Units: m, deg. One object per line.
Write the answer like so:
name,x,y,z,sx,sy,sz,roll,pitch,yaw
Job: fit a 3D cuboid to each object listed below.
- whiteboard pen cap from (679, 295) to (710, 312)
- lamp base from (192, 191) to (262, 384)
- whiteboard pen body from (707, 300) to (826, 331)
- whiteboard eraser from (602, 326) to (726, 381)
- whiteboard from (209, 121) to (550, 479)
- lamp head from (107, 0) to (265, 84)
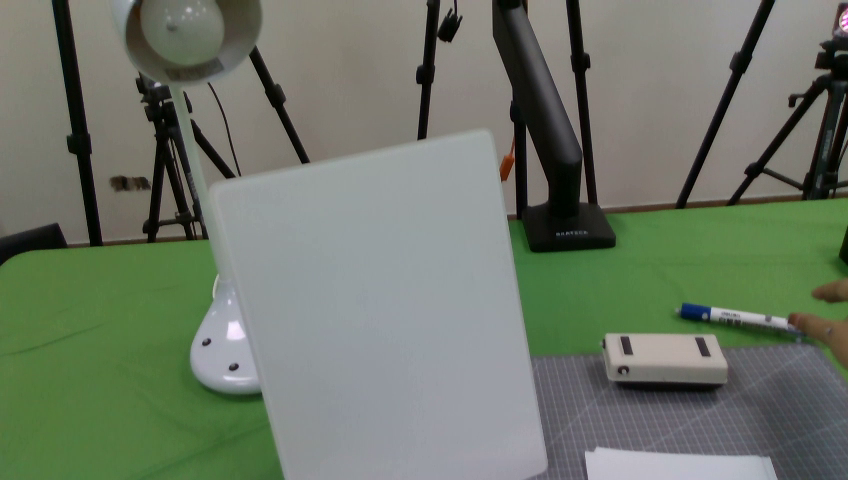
whiteboard pen cap,0.314,0.075,0.702,0.033,0.018,0.018,9,33,26
lamp base,-0.203,0.041,0.676,0.177,0.182,0.160,20,38,39
whiteboard pen body,0.367,0.082,0.678,0.140,0.017,0.017,8,33,25
whiteboard eraser,0.242,0.115,0.616,0.112,0.042,0.055,0,32,8
whiteboard,-0.037,0.068,0.539,0.218,0.306,0.143,-14,13,-14
lamp head,-0.205,-0.204,0.491,0.112,0.113,0.122,-24,60,-29
